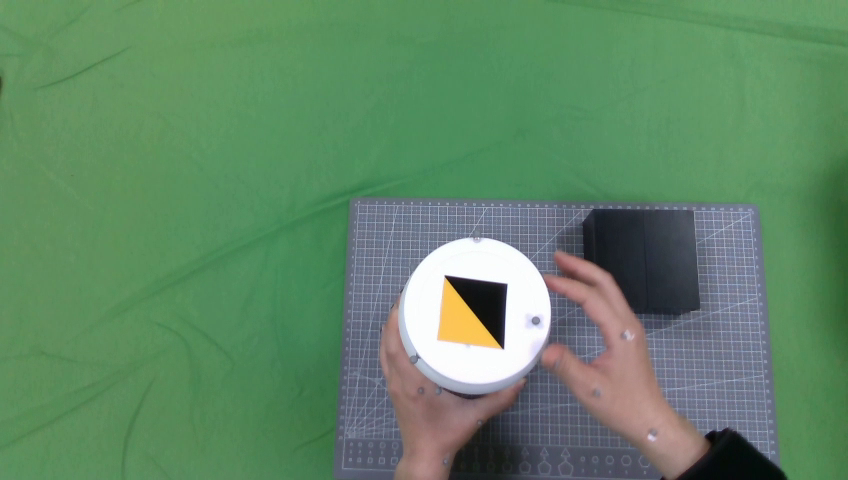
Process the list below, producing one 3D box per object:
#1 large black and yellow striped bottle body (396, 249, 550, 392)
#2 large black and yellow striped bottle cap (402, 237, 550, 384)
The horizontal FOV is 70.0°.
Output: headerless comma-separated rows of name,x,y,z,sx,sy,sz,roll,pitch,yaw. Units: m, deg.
large black and yellow striped bottle body,0.043,0.073,0.557,0.131,0.185,0.130,0,77,2
large black and yellow striped bottle cap,0.040,0.055,0.471,0.115,0.019,0.114,0,78,3
